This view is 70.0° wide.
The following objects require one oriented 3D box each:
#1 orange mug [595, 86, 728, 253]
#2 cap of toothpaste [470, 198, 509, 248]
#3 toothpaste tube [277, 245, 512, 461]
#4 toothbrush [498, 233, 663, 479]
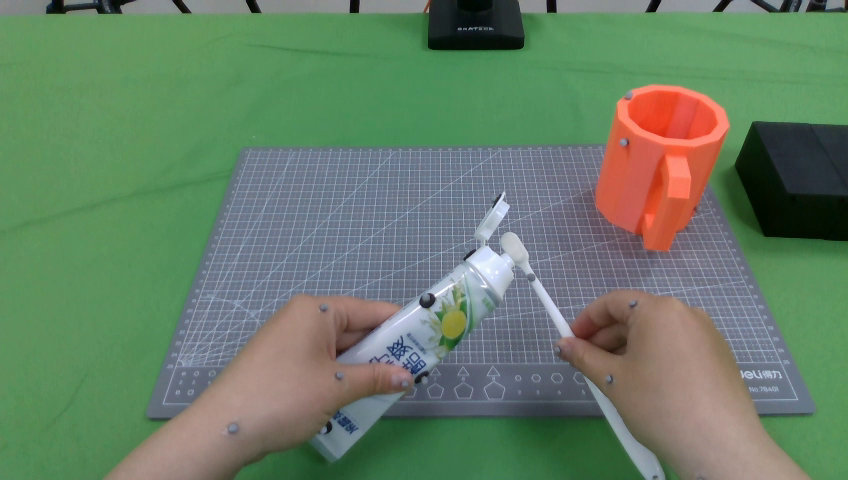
[{"bbox_3d":[0.193,-0.054,0.501,0.083,0.102,0.125,6,42,7],"label":"orange mug"},{"bbox_3d":[0.043,-0.010,0.380,0.011,0.037,0.037,34,53,11],"label":"cap of toothpaste"},{"bbox_3d":[-0.011,0.062,0.370,0.165,0.055,0.034,-42,11,-4],"label":"toothpaste tube"},{"bbox_3d":[0.097,0.073,0.380,0.014,0.017,0.181,-32,81,7],"label":"toothbrush"}]
